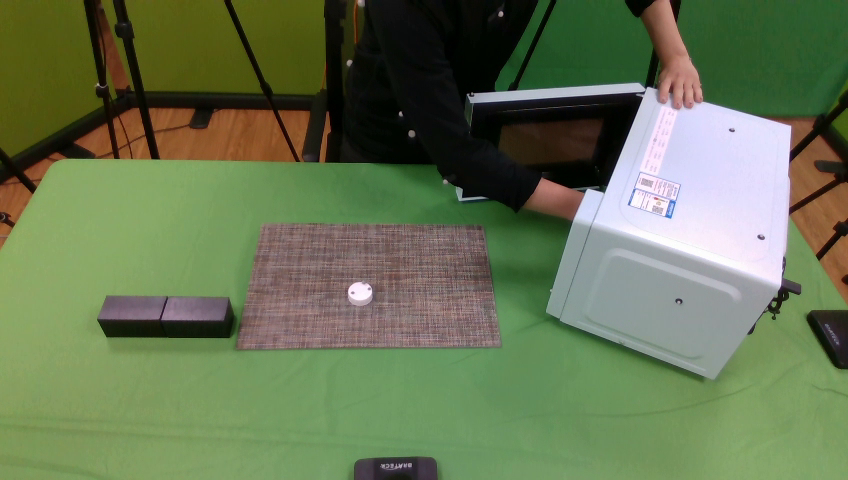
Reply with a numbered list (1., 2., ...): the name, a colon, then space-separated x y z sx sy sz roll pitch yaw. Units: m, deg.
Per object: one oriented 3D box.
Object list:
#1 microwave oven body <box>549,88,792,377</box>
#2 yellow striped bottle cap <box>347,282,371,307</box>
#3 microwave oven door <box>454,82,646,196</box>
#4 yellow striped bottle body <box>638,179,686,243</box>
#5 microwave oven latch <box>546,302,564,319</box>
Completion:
1. microwave oven body: 0.455 -0.028 1.088 0.325 0.261 0.440 20 47 16
2. yellow striped bottle cap: -0.117 0.098 1.093 0.044 0.019 0.044 3 45 -3
3. microwave oven door: 0.250 -0.203 1.226 0.356 0.245 0.039 -5 47 -11
4. yellow striped bottle body: 0.445 -0.056 1.127 0.063 0.121 0.062 0 46 0
5. microwave oven latch: 0.242 0.102 1.081 0.030 0.029 0.079 22 48 17
